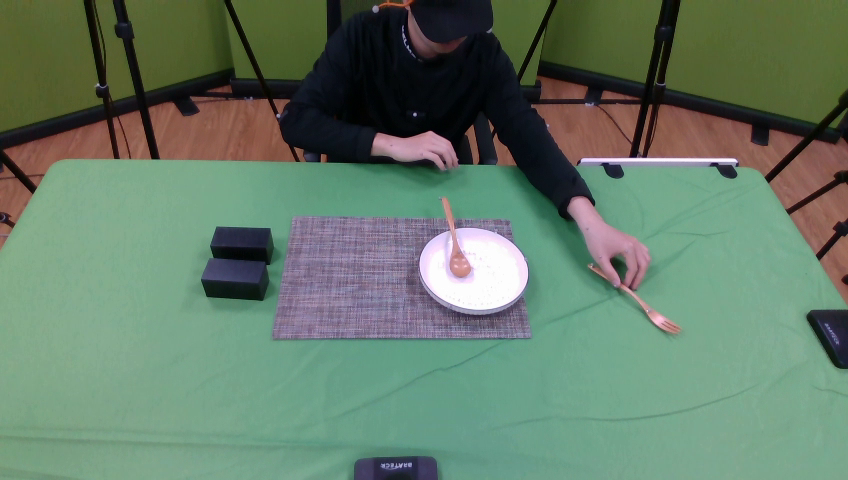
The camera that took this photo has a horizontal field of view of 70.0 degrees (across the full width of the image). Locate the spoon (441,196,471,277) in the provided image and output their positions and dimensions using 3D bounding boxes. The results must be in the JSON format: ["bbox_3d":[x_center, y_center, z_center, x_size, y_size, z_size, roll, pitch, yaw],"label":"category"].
[{"bbox_3d":[0.056,-0.010,1.176,0.041,0.022,0.192,-7,60,-5],"label":"spoon"}]

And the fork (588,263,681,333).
[{"bbox_3d":[0.387,0.104,1.129,0.028,0.019,0.206,-31,57,-25],"label":"fork"}]

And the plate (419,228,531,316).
[{"bbox_3d":[0.093,0.062,1.130,0.208,0.039,0.206,2,46,-2],"label":"plate"}]
